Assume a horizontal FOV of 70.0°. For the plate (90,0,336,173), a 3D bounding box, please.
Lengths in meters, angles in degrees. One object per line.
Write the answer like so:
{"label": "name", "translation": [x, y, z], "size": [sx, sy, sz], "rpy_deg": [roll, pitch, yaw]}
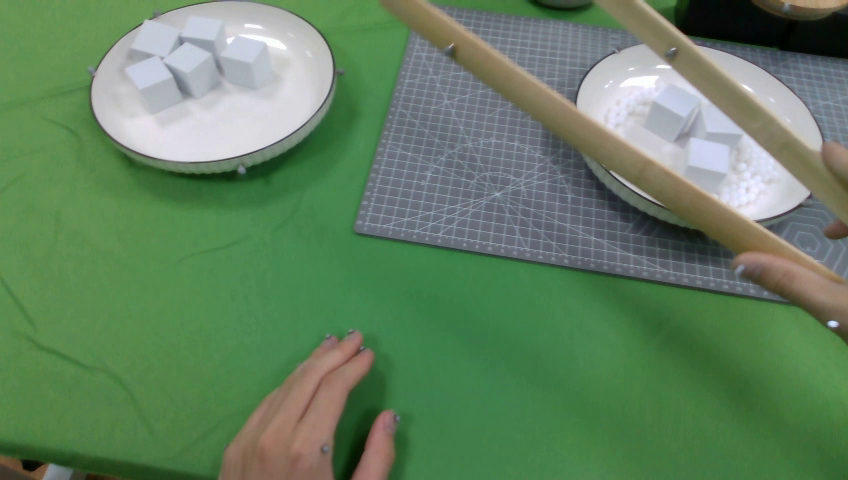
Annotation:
{"label": "plate", "translation": [-0.182, -0.136, 0.542], "size": [0.208, 0.039, 0.205], "rpy_deg": [1, 57, -1]}

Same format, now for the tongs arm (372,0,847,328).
{"label": "tongs arm", "translation": [0.116, -0.061, 0.371], "size": [0.385, 0.028, 0.028], "rpy_deg": [37, 56, 13]}

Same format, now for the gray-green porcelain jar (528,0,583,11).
{"label": "gray-green porcelain jar", "translation": [0.147, -0.311, 0.617], "size": [0.106, 0.127, 0.105], "rpy_deg": [1, 56, -1]}

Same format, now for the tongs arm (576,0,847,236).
{"label": "tongs arm", "translation": [0.169, -0.101, 0.403], "size": [0.051, 0.027, 0.382], "rpy_deg": [-33, 70, -27]}

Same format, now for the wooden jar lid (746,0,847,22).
{"label": "wooden jar lid", "translation": [0.355, -0.248, 0.587], "size": [0.108, 0.021, 0.107], "rpy_deg": [1, 58, -2]}

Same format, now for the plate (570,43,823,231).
{"label": "plate", "translation": [0.227, -0.089, 0.522], "size": [0.209, 0.038, 0.207], "rpy_deg": [1, 57, -1]}
